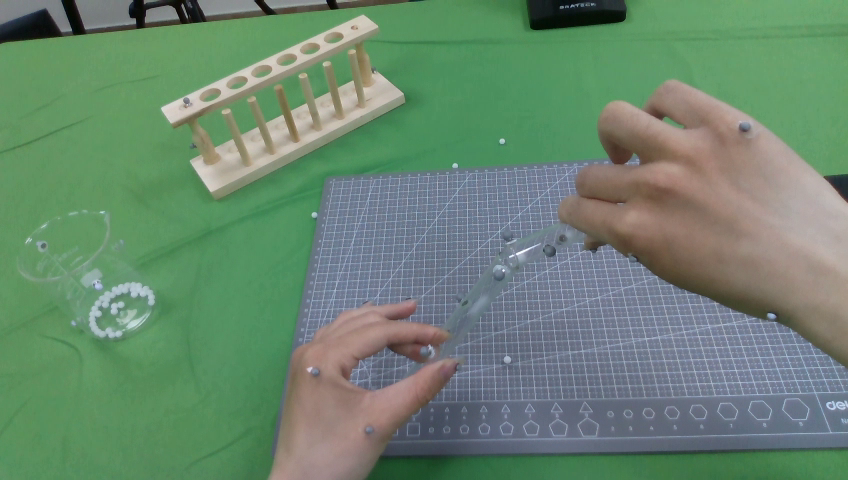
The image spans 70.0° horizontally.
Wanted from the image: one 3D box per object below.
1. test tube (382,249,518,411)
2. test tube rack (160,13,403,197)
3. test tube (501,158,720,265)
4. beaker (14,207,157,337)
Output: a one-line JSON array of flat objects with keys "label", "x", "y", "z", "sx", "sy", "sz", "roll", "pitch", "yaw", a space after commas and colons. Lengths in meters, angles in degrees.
[{"label": "test tube", "x": 0.012, "y": 0.063, "z": 0.388, "sx": 0.017, "sy": 0.151, "sz": 0.017, "roll": 26, "pitch": 30, "yaw": -16}, {"label": "test tube rack", "x": -0.146, "y": -0.151, "z": 0.662, "sx": 0.242, "sy": 0.086, "sz": 0.066, "roll": -31, "pitch": 53, "yaw": -17}, {"label": "test tube", "x": 0.115, "y": -0.019, "z": 0.365, "sx": 0.150, "sy": 0.017, "sz": 0.017, "roll": -22, "pitch": 51, "yaw": -12}, {"label": "beaker", "x": -0.284, "y": 0.030, "z": 0.525, "sx": 0.073, "sy": 0.101, "sz": 0.083, "roll": 19, "pitch": 55, "yaw": 22}]
